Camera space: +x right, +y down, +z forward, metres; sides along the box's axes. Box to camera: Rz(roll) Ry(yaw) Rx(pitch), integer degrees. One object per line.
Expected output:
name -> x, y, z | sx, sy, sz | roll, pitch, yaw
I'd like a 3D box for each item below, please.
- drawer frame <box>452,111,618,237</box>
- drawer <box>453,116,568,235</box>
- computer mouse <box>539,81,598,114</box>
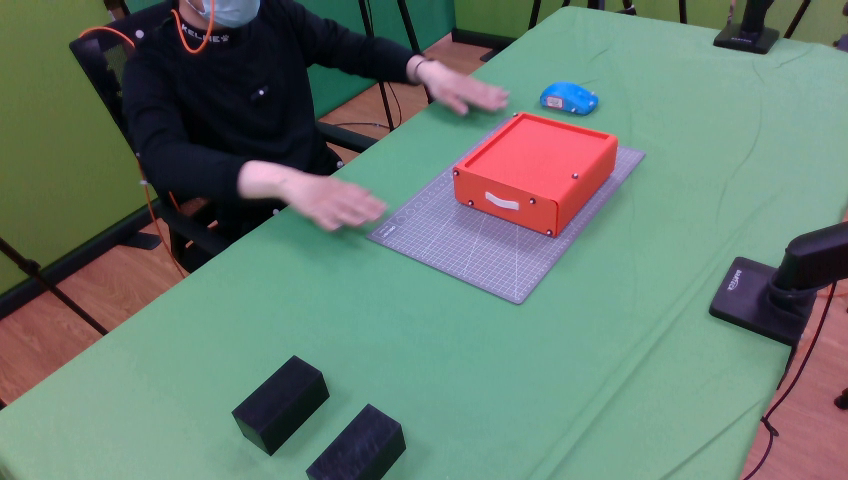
drawer frame -> 0.190, -0.120, 1.031 | 0.200, 0.083, 0.214 | 22, 48, 31
drawer -> 0.188, -0.119, 1.030 | 0.193, 0.073, 0.212 | 23, 48, 31
computer mouse -> 0.302, -0.300, 1.262 | 0.116, 0.041, 0.063 | 26, 49, 27
